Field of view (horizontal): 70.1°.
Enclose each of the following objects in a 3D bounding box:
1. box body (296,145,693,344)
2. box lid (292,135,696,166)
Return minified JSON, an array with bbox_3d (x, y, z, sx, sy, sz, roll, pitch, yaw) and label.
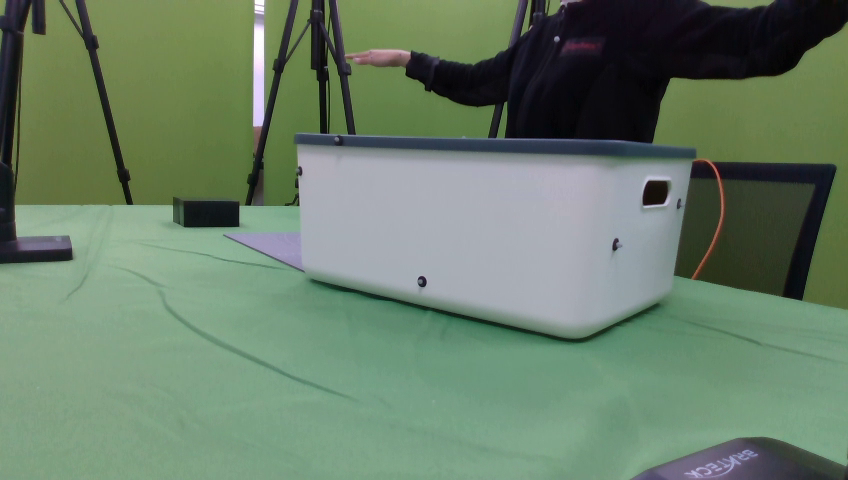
[{"bbox_3d":[0.065,-0.020,0.653,0.362,0.160,0.255,9,9,36],"label":"box body"},{"bbox_3d":[0.068,-0.094,0.645,0.369,0.015,0.265,8,9,37],"label":"box lid"}]
